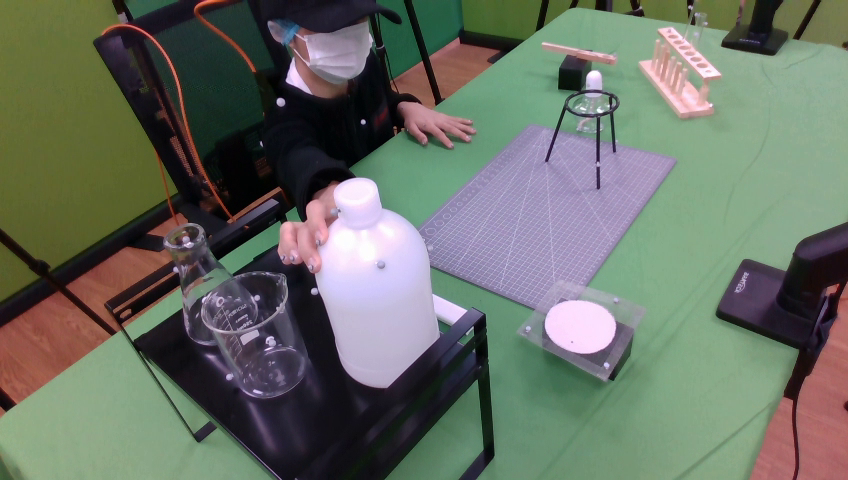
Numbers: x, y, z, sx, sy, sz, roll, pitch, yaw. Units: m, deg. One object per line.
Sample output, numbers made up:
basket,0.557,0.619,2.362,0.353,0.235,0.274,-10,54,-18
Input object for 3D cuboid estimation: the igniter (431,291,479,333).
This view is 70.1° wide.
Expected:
igniter,-0.038,0.068,0.905,0.274,0.025,0.057,24,60,32

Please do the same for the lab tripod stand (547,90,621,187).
lab tripod stand,0.289,-0.184,1.062,0.148,0.132,0.147,-6,41,6

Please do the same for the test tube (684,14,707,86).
test tube,0.541,-0.379,1.216,0.017,0.151,0.017,-2,44,2

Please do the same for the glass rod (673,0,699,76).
glass rod,0.541,-0.427,1.246,0.008,0.200,0.008,-1,48,1

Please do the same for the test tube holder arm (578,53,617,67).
test tube holder arm,0.375,-0.393,1.314,0.087,0.015,0.010,25,50,32

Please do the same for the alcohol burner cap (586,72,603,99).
alcohol burner cap,0.325,-0.297,1.154,0.034,0.048,0.033,-8,35,6

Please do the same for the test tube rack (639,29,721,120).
test tube rack,0.527,-0.351,1.262,0.067,0.085,0.241,-8,40,2

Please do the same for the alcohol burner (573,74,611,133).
alcohol burner,0.330,-0.270,1.177,0.078,0.119,0.077,-4,43,4

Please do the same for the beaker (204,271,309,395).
beaker,-0.149,0.088,0.565,0.073,0.100,0.084,21,47,29

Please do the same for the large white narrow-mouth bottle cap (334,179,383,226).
large white narrow-mouth bottle cap,-0.052,-0.030,0.480,0.038,0.024,0.037,-4,40,4

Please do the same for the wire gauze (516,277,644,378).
wire gauze,0.197,0.103,0.765,0.124,0.011,0.122,23,50,31

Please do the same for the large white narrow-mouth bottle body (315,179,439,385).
large white narrow-mouth bottle body,-0.043,0.034,0.536,0.102,0.195,0.101,-4,40,4

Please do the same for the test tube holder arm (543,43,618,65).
test tube holder arm,0.344,-0.413,1.340,0.177,0.015,0.013,25,50,31

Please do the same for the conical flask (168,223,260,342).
conical flask,-0.219,0.040,0.614,0.075,0.122,0.075,-5,40,4
